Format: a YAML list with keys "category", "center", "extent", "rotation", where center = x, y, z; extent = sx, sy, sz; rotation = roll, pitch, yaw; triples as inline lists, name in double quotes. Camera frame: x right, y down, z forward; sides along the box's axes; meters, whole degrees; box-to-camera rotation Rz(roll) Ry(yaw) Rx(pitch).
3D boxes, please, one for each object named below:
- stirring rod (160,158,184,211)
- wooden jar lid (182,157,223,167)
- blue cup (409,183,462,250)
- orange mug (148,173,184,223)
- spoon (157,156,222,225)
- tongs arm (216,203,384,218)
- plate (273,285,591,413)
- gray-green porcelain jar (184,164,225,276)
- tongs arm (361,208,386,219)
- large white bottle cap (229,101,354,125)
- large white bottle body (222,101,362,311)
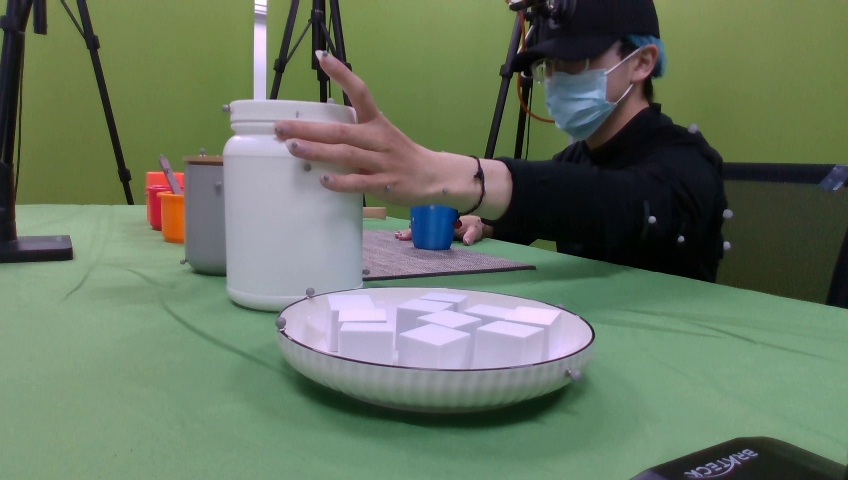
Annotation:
- category: "stirring rod"
  center: [-0.390, -0.070, 0.972]
  extent: [0.014, 0.006, 0.175]
  rotation: [-3, 51, -48]
- category: "wooden jar lid"
  center: [-0.227, -0.086, 0.714]
  extent: [0.108, 0.020, 0.108]
  rotation: [0, 6, 0]
- category: "blue cup"
  center: [0.015, -0.038, 0.969]
  extent: [0.093, 0.100, 0.092]
  rotation: [4, 9, 0]
- category: "orange mug"
  center: [-0.490, -0.087, 1.222]
  extent: [0.127, 0.101, 0.083]
  rotation: [-9, 13, -38]
- category: "spoon"
  center: [-0.425, -0.094, 1.117]
  extent: [0.041, 0.022, 0.194]
  rotation: [5, 51, 29]
- category: "tongs arm"
  center: [-0.289, -0.069, 1.435]
  extent: [0.389, 0.027, 0.028]
  rotation: [1, -1, -18]
- category: "plate"
  center: [0.005, 0.069, 0.407]
  extent: [0.208, 0.039, 0.207]
  rotation: [2, 7, 0]
- category: "gray-green porcelain jar"
  center: [-0.230, -0.025, 0.722]
  extent: [0.106, 0.126, 0.106]
  rotation: [3, 7, 0]
- category: "tongs arm"
  center: [-0.252, -0.062, 1.360]
  extent: [0.387, 0.026, 0.050]
  rotation: [-1, 3, -31]
- category: "large white bottle cap"
  center: [-0.123, -0.117, 0.569]
  extent: [0.115, 0.018, 0.115]
  rotation: [2, 8, 0]
- category: "large white bottle body"
  center: [-0.125, -0.034, 0.582]
  extent: [0.131, 0.184, 0.130]
  rotation: [1, 7, 0]
